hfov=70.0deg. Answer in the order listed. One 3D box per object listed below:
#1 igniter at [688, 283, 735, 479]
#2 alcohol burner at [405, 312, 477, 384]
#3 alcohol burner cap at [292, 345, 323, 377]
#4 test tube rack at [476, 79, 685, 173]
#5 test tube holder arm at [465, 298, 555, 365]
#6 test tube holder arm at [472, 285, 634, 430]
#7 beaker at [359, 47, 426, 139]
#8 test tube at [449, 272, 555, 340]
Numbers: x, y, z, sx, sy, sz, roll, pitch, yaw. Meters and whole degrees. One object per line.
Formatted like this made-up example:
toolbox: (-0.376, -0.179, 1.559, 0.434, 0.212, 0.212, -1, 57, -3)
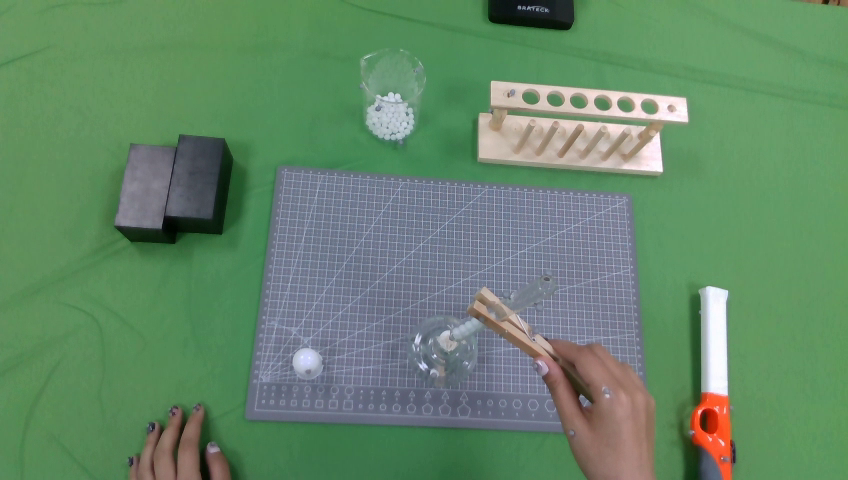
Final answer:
igniter: (0.332, 0.184, 0.701, 0.057, 0.025, 0.275, 13, 71, -13)
alcohol burner: (0.021, 0.110, 0.640, 0.078, 0.119, 0.077, 3, 69, -6)
alcohol burner cap: (-0.127, 0.129, 0.654, 0.034, 0.048, 0.033, 2, 72, -6)
test tube rack: (0.192, -0.140, 0.760, 0.243, 0.085, 0.066, 4, 71, -5)
test tube holder arm: (0.073, 0.077, 0.502, 0.088, 0.015, 0.010, 34, 60, -10)
test tube holder arm: (0.111, 0.100, 0.511, 0.179, 0.015, 0.013, 41, 60, -6)
beaker: (-0.043, -0.175, 0.737, 0.084, 0.101, 0.074, 31, 71, 5)
test tube: (0.058, 0.058, 0.499, 0.017, 0.150, 0.017, 11, 63, -22)
